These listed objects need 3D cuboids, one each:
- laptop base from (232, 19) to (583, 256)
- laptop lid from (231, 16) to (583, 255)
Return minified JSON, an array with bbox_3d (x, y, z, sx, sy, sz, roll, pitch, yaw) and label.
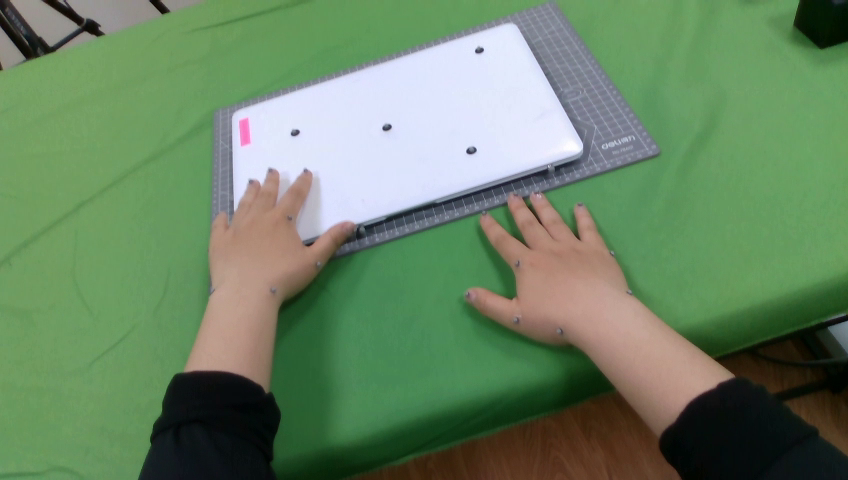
[{"bbox_3d":[-0.036,-0.119,0.655,0.354,0.023,0.233,-18,53,2],"label":"laptop base"},{"bbox_3d":[-0.038,-0.124,0.644,0.357,0.013,0.239,-16,52,3],"label":"laptop lid"}]
